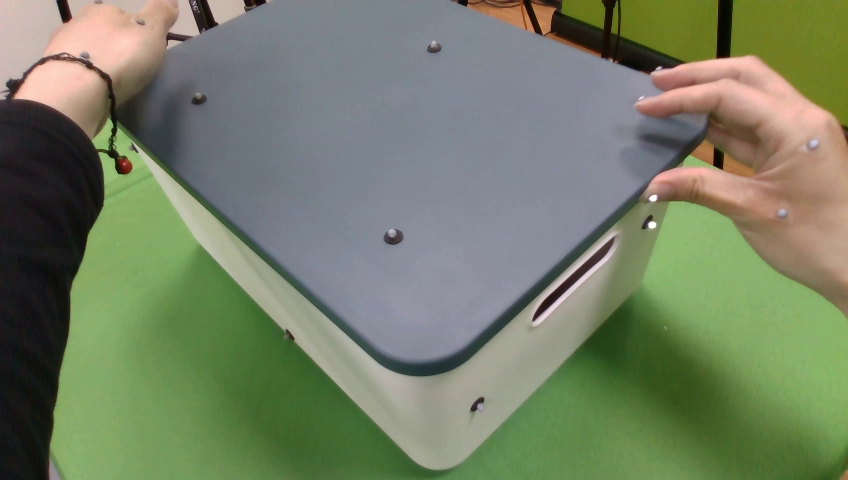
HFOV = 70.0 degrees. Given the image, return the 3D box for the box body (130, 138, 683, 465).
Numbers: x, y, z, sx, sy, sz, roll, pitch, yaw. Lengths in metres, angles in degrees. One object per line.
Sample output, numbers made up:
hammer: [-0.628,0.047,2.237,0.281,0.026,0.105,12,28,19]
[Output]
box body: [-0.029,-0.040,0.478,0.254,0.162,0.360,-38,54,-24]

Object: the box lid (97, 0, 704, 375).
box lid: [-0.034,-0.091,0.413,0.263,0.015,0.368,-39,55,-25]
